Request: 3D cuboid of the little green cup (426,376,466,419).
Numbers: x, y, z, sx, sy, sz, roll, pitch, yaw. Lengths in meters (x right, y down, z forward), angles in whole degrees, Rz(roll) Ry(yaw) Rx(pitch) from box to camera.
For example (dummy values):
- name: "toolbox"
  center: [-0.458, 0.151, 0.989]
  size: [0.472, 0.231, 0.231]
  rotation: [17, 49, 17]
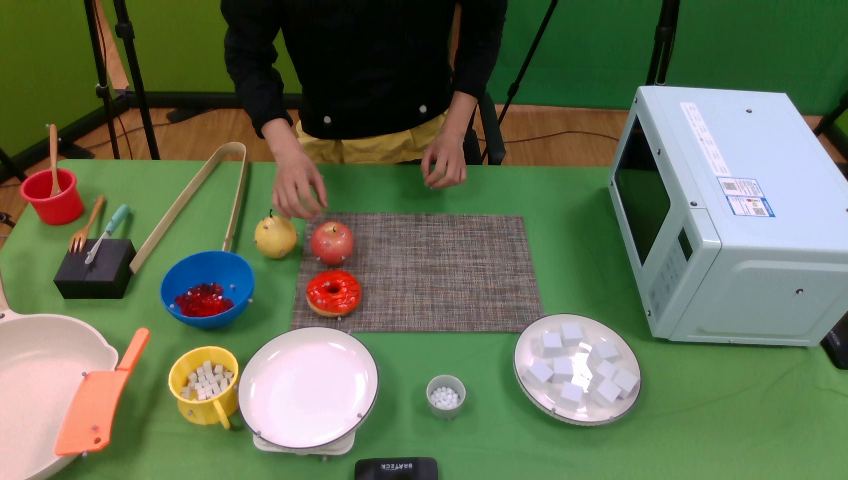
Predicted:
- name: "little green cup"
  center: [0.033, 0.248, 0.950]
  size: [0.061, 0.039, 0.061]
  rotation: [2, 46, -2]

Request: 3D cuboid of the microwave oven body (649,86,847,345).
- name: "microwave oven body"
  center: [0.567, -0.053, 1.118]
  size: [0.326, 0.261, 0.439]
  rotation: [2, 45, -1]

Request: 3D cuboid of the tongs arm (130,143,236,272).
- name: "tongs arm"
  center: [-0.482, -0.080, 1.233]
  size: [0.028, 0.028, 0.385]
  rotation: [7, 45, 12]

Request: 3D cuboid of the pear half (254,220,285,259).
- name: "pear half"
  center: [-0.294, 0.003, 1.127]
  size: [0.070, 0.088, 0.031]
  rotation: [25, 49, 16]

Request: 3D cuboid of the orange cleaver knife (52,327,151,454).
- name: "orange cleaver knife"
  center: [-0.462, 0.212, 0.879]
  size: [0.077, 0.012, 0.210]
  rotation: [6, 45, -2]

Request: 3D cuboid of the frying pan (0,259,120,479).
- name: "frying pan"
  center: [-0.647, 0.164, 0.936]
  size: [0.307, 0.103, 0.485]
  rotation: [-19, 58, -22]

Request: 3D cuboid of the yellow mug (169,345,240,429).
- name: "yellow mug"
  center: [-0.323, 0.230, 0.922]
  size: [0.100, 0.064, 0.130]
  rotation: [-24, 53, -25]

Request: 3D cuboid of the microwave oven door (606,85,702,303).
- name: "microwave oven door"
  center: [0.422, -0.094, 1.140]
  size: [0.039, 0.245, 0.353]
  rotation: [2, 46, -1]

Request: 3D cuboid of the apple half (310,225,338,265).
- name: "apple half"
  center: [-0.192, 0.017, 1.125]
  size: [0.033, 0.081, 0.081]
  rotation: [-26, 53, -30]

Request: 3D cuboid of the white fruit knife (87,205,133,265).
- name: "white fruit knife"
  center: [-0.584, -0.013, 1.129]
  size: [0.016, 0.027, 0.206]
  rotation: [-1, 32, -4]

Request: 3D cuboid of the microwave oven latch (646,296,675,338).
- name: "microwave oven latch"
  center: [0.412, 0.134, 1.061]
  size: [0.030, 0.029, 0.078]
  rotation: [4, 45, 1]

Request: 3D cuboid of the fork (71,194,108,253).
- name: "fork"
  center: [-0.634, -0.036, 1.158]
  size: [0.028, 0.019, 0.206]
  rotation: [-7, 31, -8]

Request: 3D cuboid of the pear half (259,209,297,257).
- name: "pear half"
  center: [-0.273, -0.024, 1.141]
  size: [0.076, 0.110, 0.056]
  rotation: [27, 50, 16]

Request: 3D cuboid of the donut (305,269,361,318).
- name: "donut"
  center: [-0.160, 0.094, 1.075]
  size: [0.099, 0.048, 0.098]
  rotation: [4, 46, -4]

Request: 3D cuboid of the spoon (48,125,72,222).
- name: "spoon"
  center: [-0.718, -0.131, 1.189]
  size: [0.041, 0.021, 0.193]
  rotation: [-4, 90, -7]

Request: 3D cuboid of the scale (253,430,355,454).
- name: "scale"
  center: [-0.175, 0.236, 0.951]
  size: [0.149, 0.032, 0.199]
  rotation: [4, 45, 0]

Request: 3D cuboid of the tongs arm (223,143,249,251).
- name: "tongs arm"
  center: [-0.397, -0.073, 1.232]
  size: [0.051, 0.026, 0.382]
  rotation: [-1, 45, -1]

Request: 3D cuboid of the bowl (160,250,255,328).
- name: "bowl"
  center: [-0.362, 0.098, 1.039]
  size: [0.151, 0.077, 0.150]
  rotation: [2, 45, -2]

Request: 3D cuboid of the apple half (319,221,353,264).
- name: "apple half"
  center: [-0.162, 0.001, 1.144]
  size: [0.053, 0.075, 0.080]
  rotation: [-25, 50, -29]

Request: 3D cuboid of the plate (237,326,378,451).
- name: "plate"
  center: [-0.174, 0.224, 0.917]
  size: [0.209, 0.038, 0.208]
  rotation: [2, 46, -2]

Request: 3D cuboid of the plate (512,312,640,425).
- name: "plate"
  center: [0.246, 0.213, 0.999]
  size: [0.208, 0.039, 0.206]
  rotation: [2, 46, -2]
